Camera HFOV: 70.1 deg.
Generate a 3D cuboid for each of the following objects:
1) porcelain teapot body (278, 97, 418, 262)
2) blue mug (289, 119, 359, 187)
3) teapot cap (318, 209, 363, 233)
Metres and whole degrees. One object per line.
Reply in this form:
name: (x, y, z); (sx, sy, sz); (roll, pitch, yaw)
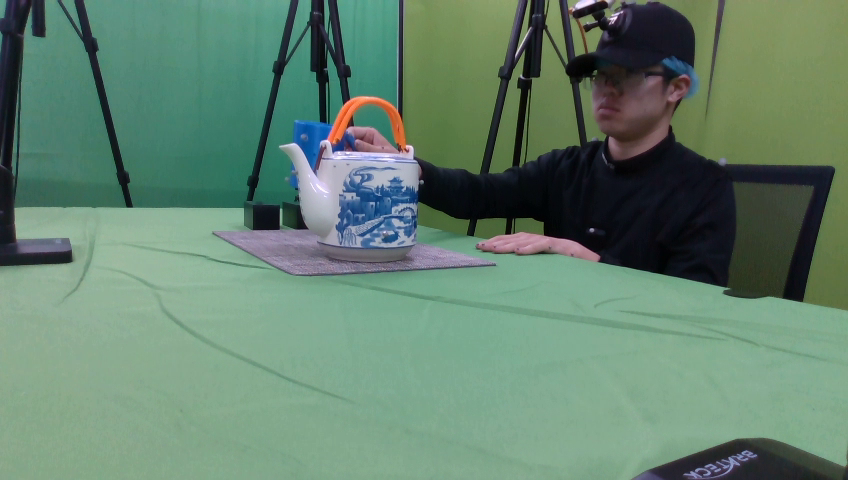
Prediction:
porcelain teapot body: (-0.104, -0.086, 0.842); (0.206, 0.225, 0.144); (-4, 10, -38)
blue mug: (-0.159, -0.139, 0.989); (0.117, 0.106, 0.082); (-1, 15, -34)
teapot cap: (-0.158, -0.037, 1.144); (0.085, 0.044, 0.085); (0, 6, 0)
